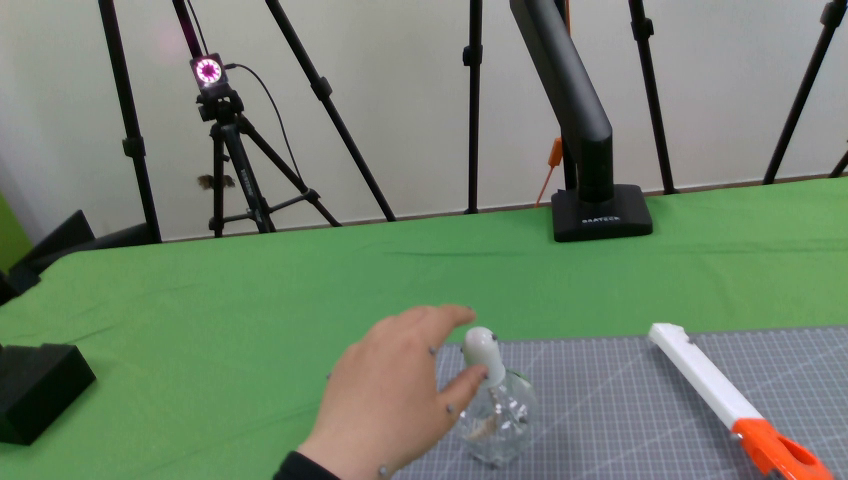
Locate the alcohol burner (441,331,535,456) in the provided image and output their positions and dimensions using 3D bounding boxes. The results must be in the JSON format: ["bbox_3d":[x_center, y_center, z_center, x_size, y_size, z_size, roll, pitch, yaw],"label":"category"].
[{"bbox_3d":[0.050,0.117,0.492,0.078,0.120,0.077,-7,32,5],"label":"alcohol burner"}]

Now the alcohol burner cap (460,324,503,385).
[{"bbox_3d":[0.043,0.087,0.474,0.034,0.048,0.033,-8,34,5],"label":"alcohol burner cap"}]

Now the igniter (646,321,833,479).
[{"bbox_3d":[0.250,0.144,0.455,0.057,0.025,0.274,6,25,-14],"label":"igniter"}]
